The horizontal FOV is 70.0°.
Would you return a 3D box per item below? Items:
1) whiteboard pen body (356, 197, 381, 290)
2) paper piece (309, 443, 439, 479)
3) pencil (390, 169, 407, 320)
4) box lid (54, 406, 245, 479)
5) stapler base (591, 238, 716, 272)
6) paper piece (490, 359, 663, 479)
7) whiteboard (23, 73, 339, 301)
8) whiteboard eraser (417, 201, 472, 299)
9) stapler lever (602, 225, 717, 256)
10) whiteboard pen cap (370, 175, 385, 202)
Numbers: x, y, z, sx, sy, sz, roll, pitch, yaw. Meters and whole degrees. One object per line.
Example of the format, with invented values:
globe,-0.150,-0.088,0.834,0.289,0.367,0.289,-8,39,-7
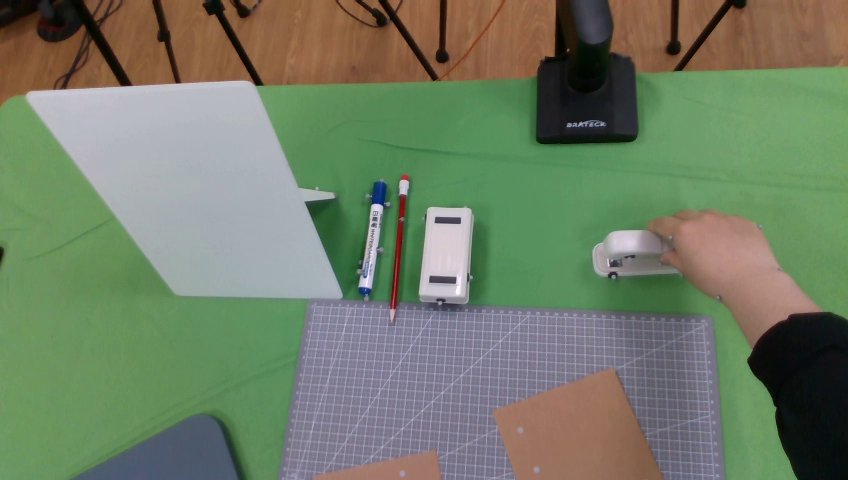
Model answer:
whiteboard pen body,-0.065,-0.008,0.729,0.017,0.017,0.140,2,69,11
paper piece,-0.044,0.287,0.612,0.135,0.004,0.134,-13,68,5
pencil,-0.031,0.002,0.723,0.012,0.012,0.192,0,69,10
box lid,-0.273,0.383,0.616,0.263,0.015,0.368,-28,68,-2
stapler base,0.252,0.009,0.663,0.130,0.024,0.041,-4,69,6
paper piece,0.152,0.207,0.610,0.136,0.009,0.137,-21,69,6
whiteboard,-0.214,-0.083,0.661,0.217,0.308,0.142,1,50,11
whiteboard eraser,0.024,0.012,0.693,0.055,0.042,0.112,1,69,11
stapler lever,0.250,0.000,0.643,0.118,0.040,0.026,-5,68,8
whiteboard pen cap,-0.057,-0.063,0.748,0.018,0.018,0.033,1,69,11
